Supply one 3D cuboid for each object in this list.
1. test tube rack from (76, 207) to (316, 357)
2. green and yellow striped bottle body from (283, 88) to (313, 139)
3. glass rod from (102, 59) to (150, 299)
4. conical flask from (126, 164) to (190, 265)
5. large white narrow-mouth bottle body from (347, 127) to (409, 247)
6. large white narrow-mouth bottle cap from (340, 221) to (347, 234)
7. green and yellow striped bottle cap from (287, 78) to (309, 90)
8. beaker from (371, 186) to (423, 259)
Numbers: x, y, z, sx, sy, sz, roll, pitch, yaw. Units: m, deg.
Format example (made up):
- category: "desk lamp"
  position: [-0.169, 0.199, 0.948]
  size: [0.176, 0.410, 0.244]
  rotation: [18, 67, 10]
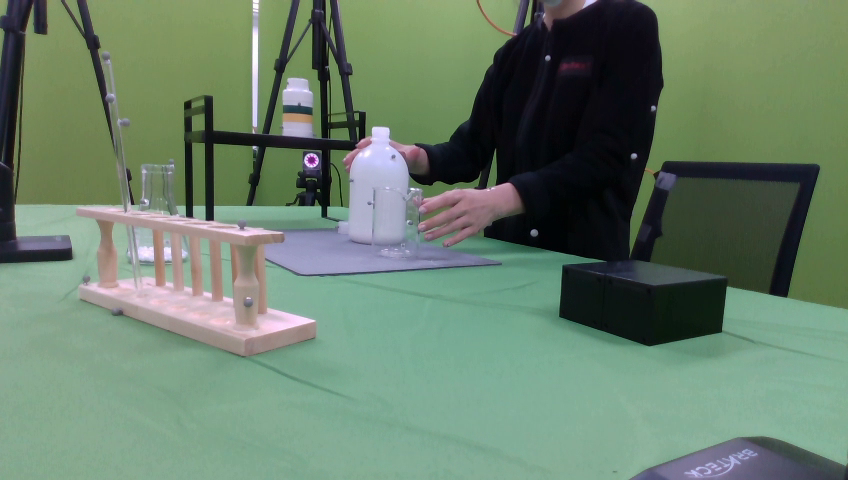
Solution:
- category: "test tube rack"
  position: [-0.196, 0.023, 0.500]
  size: [0.241, 0.085, 0.067]
  rotation: [7, 9, 36]
- category: "green and yellow striped bottle body"
  position: [-0.266, -0.275, 1.275]
  size: [0.063, 0.119, 0.063]
  rotation: [3, 7, 0]
- category: "glass rod"
  position: [-0.243, -0.045, 0.496]
  size: [0.008, 0.199, 0.008]
  rotation: [-3, 12, 1]
- category: "conical flask"
  position: [-0.332, -0.033, 0.756]
  size: [0.075, 0.122, 0.075]
  rotation: [2, 7, 0]
- category: "large white narrow-mouth bottle body"
  position: [-0.075, -0.091, 1.010]
  size: [0.102, 0.194, 0.102]
  rotation: [4, 8, 0]
- category: "large white narrow-mouth bottle cap"
  position: [-0.139, -0.023, 1.127]
  size: [0.038, 0.024, 0.037]
  rotation: [4, 8, 0]
- category: "green and yellow striped bottle cap"
  position: [-0.265, -0.326, 1.268]
  size: [0.045, 0.020, 0.045]
  rotation: [4, 6, 0]
- category: "beaker"
  position: [-0.038, -0.026, 0.869]
  size: [0.074, 0.100, 0.083]
  rotation: [-1, 8, -22]
